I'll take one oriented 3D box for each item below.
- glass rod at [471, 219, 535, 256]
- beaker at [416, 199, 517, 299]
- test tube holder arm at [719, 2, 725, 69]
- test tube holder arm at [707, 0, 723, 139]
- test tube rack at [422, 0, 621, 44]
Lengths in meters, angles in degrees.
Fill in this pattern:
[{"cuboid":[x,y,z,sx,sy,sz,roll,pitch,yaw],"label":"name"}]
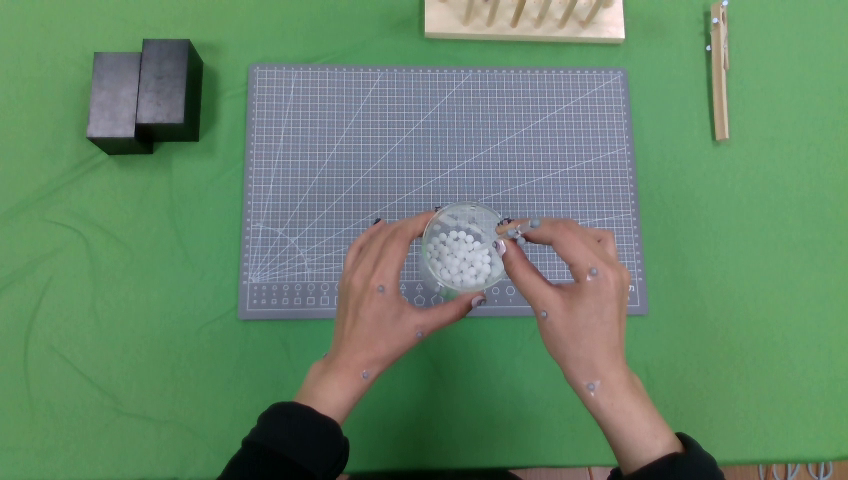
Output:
[{"cuboid":[0.056,0.001,0.472,0.008,0.200,0.008,1,83,-6],"label":"glass rod"},{"cuboid":[0.032,0.013,0.528,0.084,0.100,0.074,18,79,-1],"label":"beaker"},{"cuboid":[0.363,-0.250,0.747,0.010,0.015,0.087,13,76,-30],"label":"test tube holder arm"},{"cuboid":[0.354,-0.208,0.735,0.013,0.015,0.177,12,76,-30],"label":"test tube holder arm"},{"cuboid":[0.120,-0.285,0.707,0.242,0.085,0.066,1,77,-3],"label":"test tube rack"}]
